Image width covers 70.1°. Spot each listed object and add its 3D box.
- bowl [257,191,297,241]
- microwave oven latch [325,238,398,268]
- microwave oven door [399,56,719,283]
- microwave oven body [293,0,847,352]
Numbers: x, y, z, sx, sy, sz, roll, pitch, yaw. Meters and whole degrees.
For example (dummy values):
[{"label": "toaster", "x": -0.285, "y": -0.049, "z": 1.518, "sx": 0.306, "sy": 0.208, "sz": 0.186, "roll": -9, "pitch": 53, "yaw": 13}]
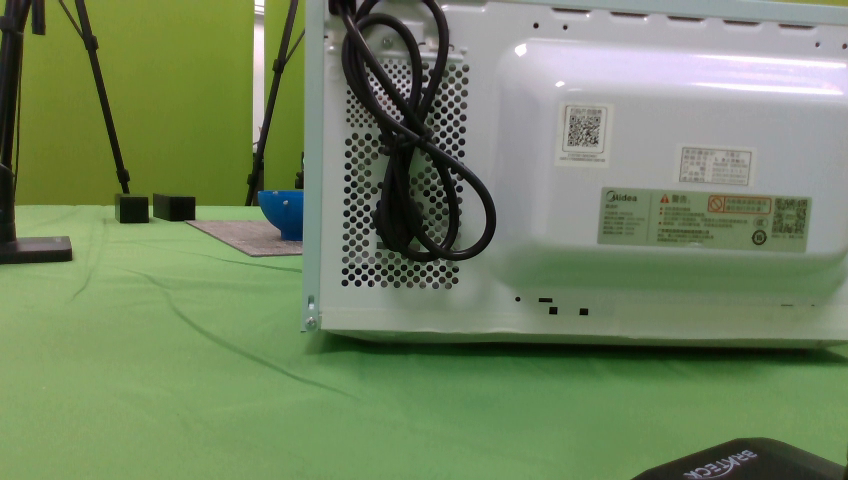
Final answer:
[{"label": "bowl", "x": -0.206, "y": -0.041, "z": 1.027, "sx": 0.151, "sy": 0.077, "sz": 0.151, "roll": 3, "pitch": 8, "yaw": 0}, {"label": "microwave oven latch", "x": -0.071, "y": 0.015, "z": 0.691, "sx": 0.079, "sy": 0.029, "sz": 0.030, "roll": 4, "pitch": 7, "yaw": 3}, {"label": "microwave oven door", "x": 0.154, "y": -0.077, "z": 0.697, "sx": 0.356, "sy": 0.243, "sz": 0.039, "roll": 2, "pitch": 8, "yaw": -5}, {"label": "microwave oven body", "x": 0.122, "y": -0.055, "z": 0.550, "sx": 0.442, "sy": 0.260, "sz": 0.325, "roll": 3, "pitch": 7, "yaw": -5}]
